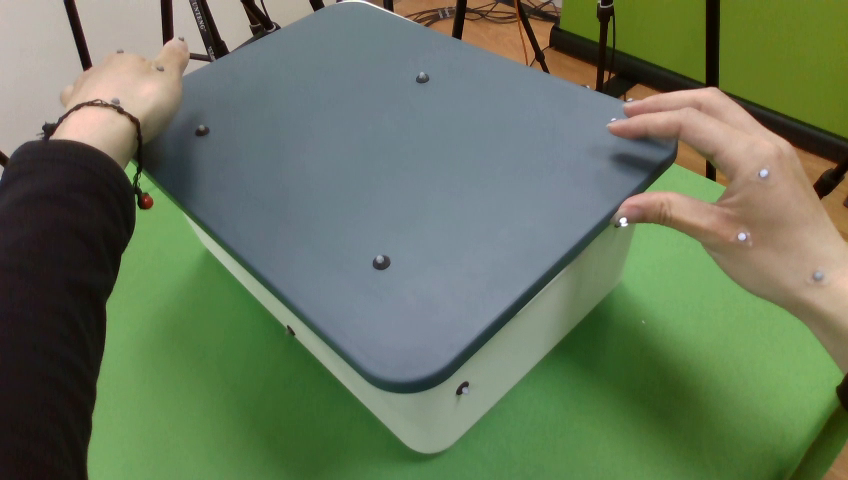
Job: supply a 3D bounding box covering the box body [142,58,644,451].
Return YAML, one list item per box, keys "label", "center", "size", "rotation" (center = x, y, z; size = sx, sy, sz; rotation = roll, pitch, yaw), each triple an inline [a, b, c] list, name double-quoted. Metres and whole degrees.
- label: "box body"
  center: [-0.035, -0.037, 0.511]
  size: [0.254, 0.162, 0.360]
  rotation: [-38, 52, -24]

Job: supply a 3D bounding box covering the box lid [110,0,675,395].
- label: "box lid"
  center: [-0.041, -0.075, 0.440]
  size: [0.263, 0.015, 0.368]
  rotation: [-39, 54, -24]

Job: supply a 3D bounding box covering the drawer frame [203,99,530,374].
- label: "drawer frame"
  center: [-0.049, -0.019, 0.543]
  size: [0.200, 0.083, 0.213]
  rotation: [30, 56, 32]
